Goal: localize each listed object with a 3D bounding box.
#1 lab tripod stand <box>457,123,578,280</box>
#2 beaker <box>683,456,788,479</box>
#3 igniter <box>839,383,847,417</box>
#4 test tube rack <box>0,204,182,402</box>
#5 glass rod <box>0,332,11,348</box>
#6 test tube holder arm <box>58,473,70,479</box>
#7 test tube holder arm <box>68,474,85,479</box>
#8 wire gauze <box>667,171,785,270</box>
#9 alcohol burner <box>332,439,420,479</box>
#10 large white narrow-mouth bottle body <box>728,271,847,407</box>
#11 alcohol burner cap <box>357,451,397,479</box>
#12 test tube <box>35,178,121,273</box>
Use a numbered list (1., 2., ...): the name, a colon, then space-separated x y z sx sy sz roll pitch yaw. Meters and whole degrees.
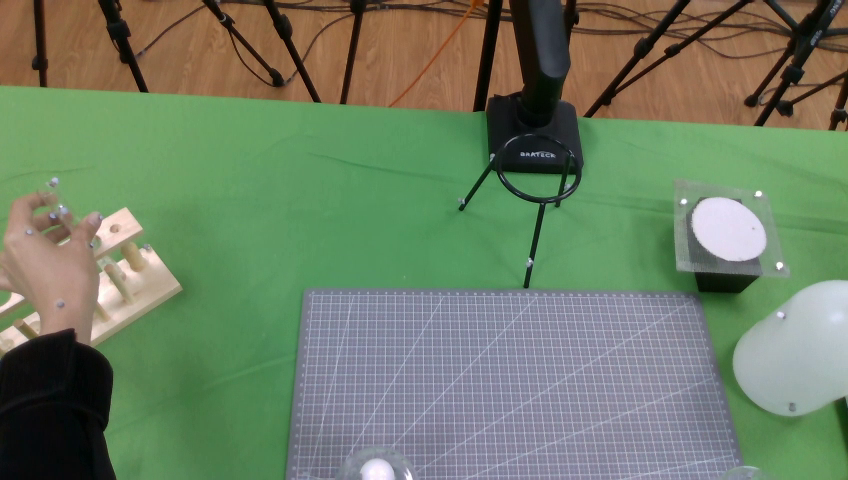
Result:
1. lab tripod stand: 0.112 -0.049 0.672 0.148 0.132 0.147 3 61 -5
2. beaker: 0.264 0.239 0.535 0.084 0.101 0.073 6 59 0
3. igniter: 0.451 0.230 0.601 0.057 0.025 0.274 12 59 -10
4. test tube rack: -0.372 0.072 0.588 0.242 0.086 0.066 -36 69 -22
5. glass rod: -0.401 0.045 0.525 0.008 0.201 0.008 5 51 -5
6. test tube holder arm: -0.307 0.233 0.486 0.010 0.015 0.087 7 59 12
7. test tube holder arm: -0.310 0.272 0.463 0.013 0.015 0.177 7 59 11
8. wire gauze: 0.340 -0.022 0.691 0.121 0.011 0.124 8 59 0
9. alcohol burner: -0.041 0.206 0.520 0.078 0.120 0.077 3 58 -5
10. large white narrow-mouth bottle body: 0.382 0.087 0.580 0.102 0.196 0.101 2 59 -3
11. alcohol burner cap: -0.038 0.188 0.488 0.034 0.048 0.033 1 54 -1
12. test tube: -0.327 -0.008 0.579 0.017 0.151 0.017 1 58 -1
